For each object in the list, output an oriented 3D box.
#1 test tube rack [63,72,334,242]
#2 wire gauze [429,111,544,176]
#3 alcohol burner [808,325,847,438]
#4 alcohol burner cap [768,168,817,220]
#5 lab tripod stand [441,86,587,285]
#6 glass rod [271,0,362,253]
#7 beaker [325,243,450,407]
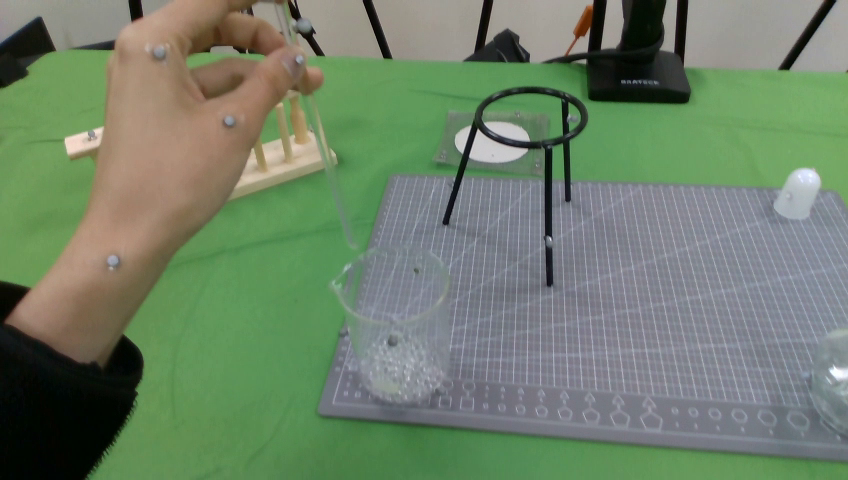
[{"bbox_3d":[-0.222,-0.090,0.625,0.243,0.086,0.066,-22,46,-20],"label":"test tube rack"},{"bbox_3d":[0.074,-0.116,0.694,0.125,0.011,0.120,5,42,11],"label":"wire gauze"},{"bbox_3d":[0.295,0.075,0.384,0.078,0.120,0.077,-1,40,2],"label":"alcohol burner"},{"bbox_3d":[0.347,-0.046,0.568,0.034,0.048,0.033,-2,42,2],"label":"alcohol burner cap"},{"bbox_3d":[0.083,-0.054,0.526,0.148,0.133,0.147,-3,44,3],"label":"lab tripod stand"},{"bbox_3d":[-0.055,-0.060,0.314,0.008,0.202,0.008,-5,47,6],"label":"glass rod"},{"bbox_3d":[-0.022,0.064,0.429,0.084,0.101,0.073,1,42,6],"label":"beaker"}]
